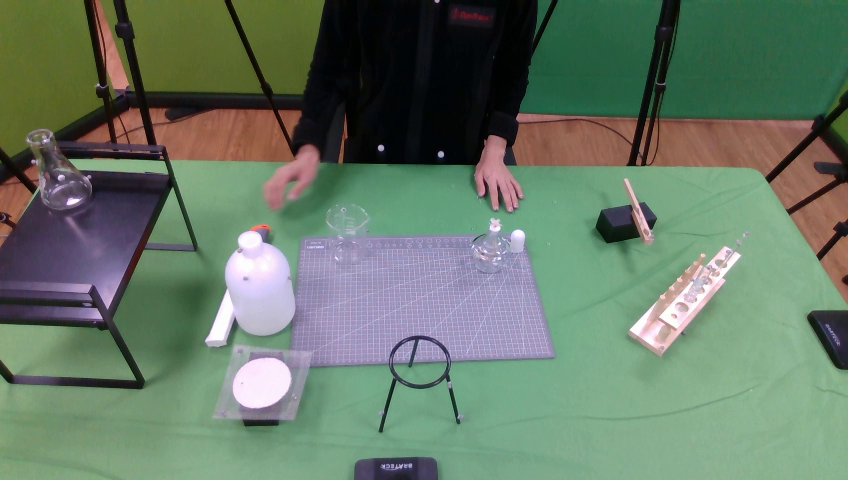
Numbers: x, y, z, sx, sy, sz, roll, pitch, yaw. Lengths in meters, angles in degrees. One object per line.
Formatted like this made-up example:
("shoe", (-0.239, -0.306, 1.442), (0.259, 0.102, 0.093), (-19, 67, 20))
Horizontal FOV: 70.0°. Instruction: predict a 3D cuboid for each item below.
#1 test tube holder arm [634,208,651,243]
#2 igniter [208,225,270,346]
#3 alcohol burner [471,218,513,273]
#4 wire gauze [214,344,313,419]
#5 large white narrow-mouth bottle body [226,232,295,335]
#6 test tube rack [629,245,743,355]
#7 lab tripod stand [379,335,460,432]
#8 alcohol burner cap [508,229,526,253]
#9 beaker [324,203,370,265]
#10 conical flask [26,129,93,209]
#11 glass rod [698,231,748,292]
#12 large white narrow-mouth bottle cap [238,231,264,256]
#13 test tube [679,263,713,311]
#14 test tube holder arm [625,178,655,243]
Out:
("test tube holder arm", (0.428, -0.030, 1.189), (0.010, 0.015, 0.087), (1, 47, -2))
("igniter", (-0.331, 0.072, 1.099), (0.057, 0.025, 0.275), (-4, 45, 10))
("alcohol burner", (0.128, 0.005, 1.132), (0.078, 0.120, 0.077), (0, 47, 0))
("wire gauze", (-0.241, 0.213, 0.916), (0.121, 0.011, 0.124), (5, 46, 1))
("large white narrow-mouth bottle body", (-0.270, 0.065, 0.995), (0.102, 0.195, 0.101), (2, 46, -2))
("test tube rack", (0.474, 0.095, 1.091), (0.242, 0.085, 0.066), (-34, 56, -31))
("lab tripod stand", (-0.011, 0.214, 0.911), (0.148, 0.132, 0.147), (1, 45, 0))
("alcohol burner cap", (0.185, -0.002, 1.192), (0.034, 0.048, 0.033), (3, 44, -2))
("beaker", (-0.142, -0.009, 1.137), (0.084, 0.101, 0.073), (-3, 47, -7))
("conical flask", (-0.575, -0.113, 0.946), (0.075, 0.122, 0.075), (2, 46, -2))
("glass rod", (0.515, 0.044, 1.051), (0.008, 0.200, 0.008), (1, 55, -1))
("large white narrow-mouth bottle cap", (-0.266, 0.006, 0.932), (0.038, 0.024, 0.037), (2, 46, -2))
("test tube", (0.453, 0.092, 1.023), (0.017, 0.151, 0.017), (1, 49, -1))
("test tube holder arm", (0.433, -0.062, 1.220), (0.013, 0.015, 0.177), (1, 47, -3))
